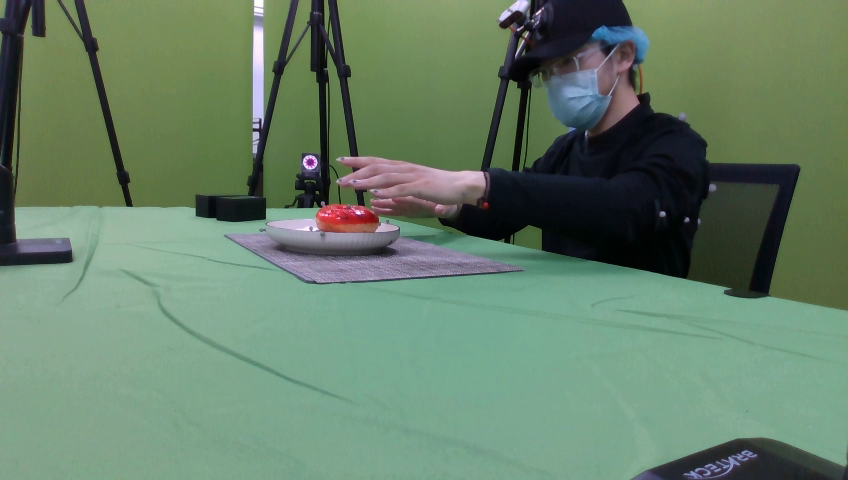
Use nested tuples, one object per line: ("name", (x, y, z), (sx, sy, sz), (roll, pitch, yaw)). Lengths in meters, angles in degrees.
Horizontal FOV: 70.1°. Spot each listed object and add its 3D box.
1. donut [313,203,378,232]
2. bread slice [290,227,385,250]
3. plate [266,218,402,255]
("donut", (-0.118, -0.030, 0.915), (0.099, 0.048, 0.099), (5, 9, 0))
("bread slice", (-0.142, -0.004, 0.940), (0.131, 0.019, 0.105), (9, 9, 33))
("plate", (-0.138, -0.006, 0.941), (0.208, 0.039, 0.207), (2, 7, 0))
